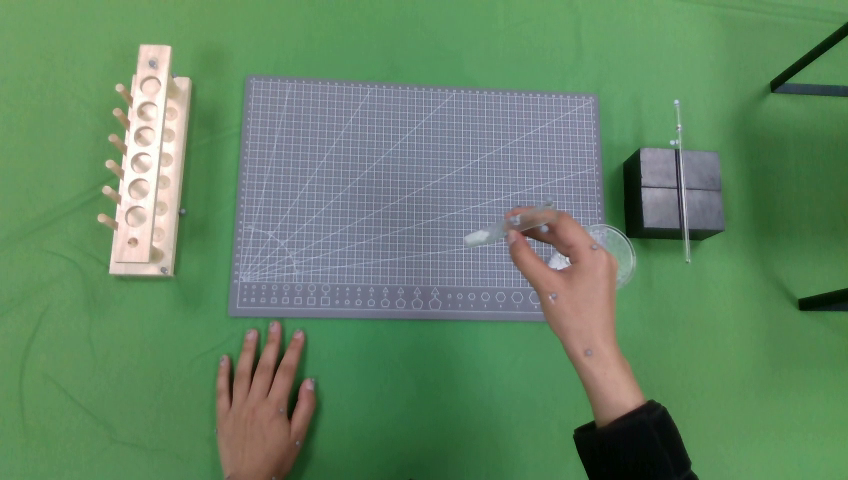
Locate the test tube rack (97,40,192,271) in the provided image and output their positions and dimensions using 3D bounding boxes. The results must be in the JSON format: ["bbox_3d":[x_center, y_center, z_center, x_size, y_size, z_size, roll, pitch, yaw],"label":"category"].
[{"bbox_3d":[-0.314,-0.092,0.675,0.067,0.085,0.241,2,77,-5],"label":"test tube rack"}]

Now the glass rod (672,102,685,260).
[{"bbox_3d":[0.306,-0.073,0.728,0.008,0.008,0.199,4,78,-5],"label":"glass rod"}]

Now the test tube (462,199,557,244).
[{"bbox_3d":[0.070,-0.014,0.539,0.017,0.150,0.017,4,80,-22],"label":"test tube"}]

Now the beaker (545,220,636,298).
[{"bbox_3d":[0.182,0.026,0.692,0.084,0.100,0.073,3,77,-4],"label":"beaker"}]
